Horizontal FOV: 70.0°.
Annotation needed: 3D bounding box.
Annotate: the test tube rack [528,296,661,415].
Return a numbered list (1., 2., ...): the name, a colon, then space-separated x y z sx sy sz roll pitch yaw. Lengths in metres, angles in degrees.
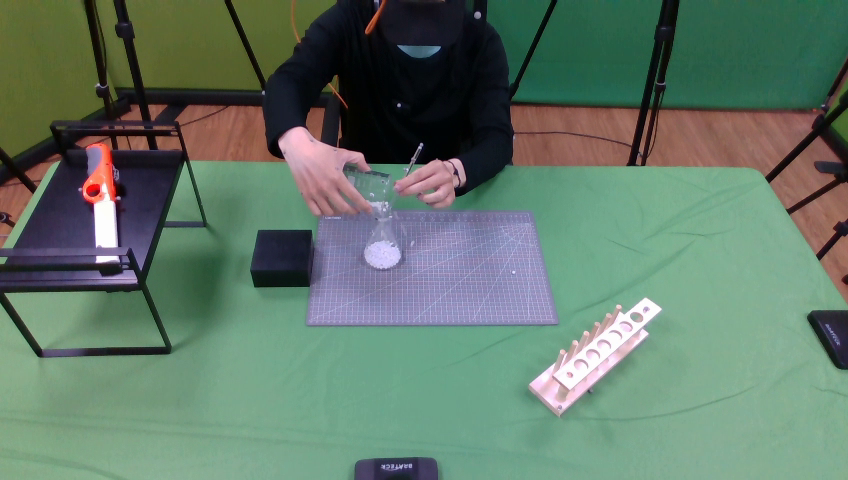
1. test tube rack: 0.285 0.178 1.005 0.242 0.085 0.066 -31 55 -29

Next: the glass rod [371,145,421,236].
1. glass rod: -0.051 -0.084 1.072 0.008 0.200 0.008 23 29 -13

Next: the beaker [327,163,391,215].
1. beaker: -0.115 -0.090 1.064 0.100 0.084 0.073 13 34 0

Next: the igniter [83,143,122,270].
1. igniter: -0.508 -0.063 0.962 0.057 0.025 0.274 -14 53 -18

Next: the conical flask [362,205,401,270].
1. conical flask: -0.078 -0.008 1.127 0.075 0.122 0.075 2 46 -2
